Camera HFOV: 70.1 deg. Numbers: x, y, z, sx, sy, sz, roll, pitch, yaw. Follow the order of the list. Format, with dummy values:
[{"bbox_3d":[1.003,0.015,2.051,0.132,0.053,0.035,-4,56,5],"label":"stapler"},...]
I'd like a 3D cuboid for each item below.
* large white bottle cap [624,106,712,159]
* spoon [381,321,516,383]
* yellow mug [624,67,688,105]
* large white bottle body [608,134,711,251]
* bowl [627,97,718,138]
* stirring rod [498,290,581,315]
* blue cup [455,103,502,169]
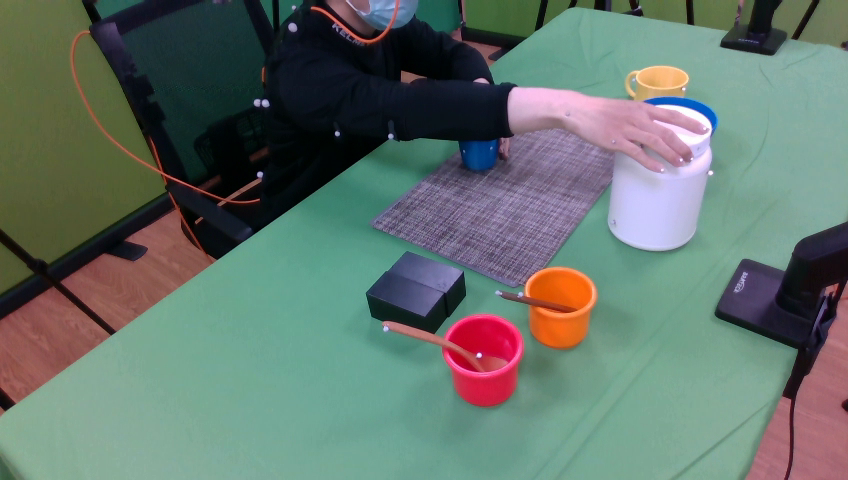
[{"bbox_3d":[0.341,-0.153,0.849,0.115,0.018,0.114,-4,41,4],"label":"large white bottle cap"},{"bbox_3d":[0.033,0.131,0.725,0.195,0.021,0.041,29,30,-26],"label":"spoon"},{"bbox_3d":[0.465,-0.305,1.230,0.100,0.064,0.129,-34,46,-27],"label":"yellow mug"},{"bbox_3d":[0.350,-0.090,0.904,0.130,0.185,0.130,-5,41,4],"label":"large white bottle body"},{"bbox_3d":[0.439,-0.186,1.087,0.151,0.077,0.150,-4,41,4],"label":"bowl"},{"bbox_3d":[0.152,0.081,0.771,0.178,0.006,0.014,16,19,-44],"label":"stirring rod"},{"bbox_3d":[0.101,-0.187,1.113,0.092,0.100,0.092,-3,42,3],"label":"blue cup"}]
